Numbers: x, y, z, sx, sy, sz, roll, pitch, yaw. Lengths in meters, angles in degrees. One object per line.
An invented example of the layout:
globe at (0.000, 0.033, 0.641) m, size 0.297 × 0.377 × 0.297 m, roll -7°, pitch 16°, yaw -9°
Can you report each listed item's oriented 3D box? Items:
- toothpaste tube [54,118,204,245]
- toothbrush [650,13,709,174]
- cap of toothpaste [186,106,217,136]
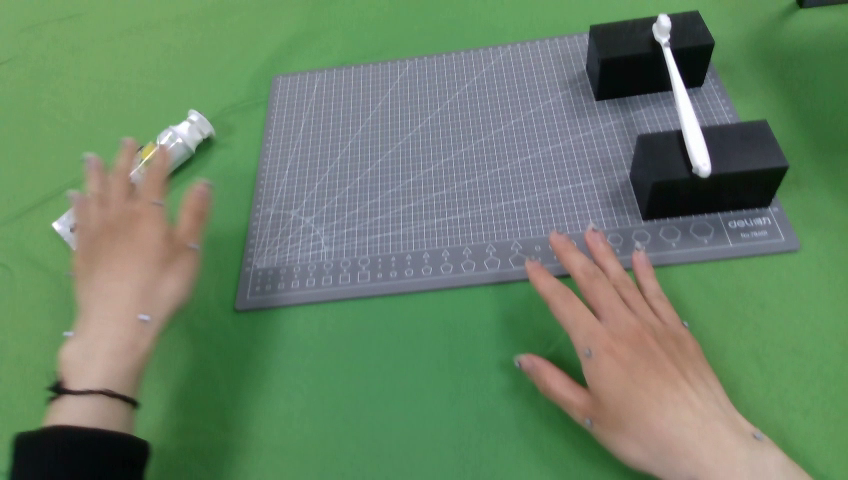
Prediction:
toothpaste tube at (-0.283, -0.064, 0.592) m, size 0.054 × 0.035 × 0.165 m, roll 31°, pitch 68°, yaw 36°
toothbrush at (0.209, -0.126, 0.496) m, size 0.014 × 0.017 × 0.180 m, roll 3°, pitch 56°, yaw -2°
cap of toothpaste at (-0.227, -0.119, 0.615) m, size 0.037 × 0.038 × 0.011 m, roll 24°, pitch 60°, yaw 24°
